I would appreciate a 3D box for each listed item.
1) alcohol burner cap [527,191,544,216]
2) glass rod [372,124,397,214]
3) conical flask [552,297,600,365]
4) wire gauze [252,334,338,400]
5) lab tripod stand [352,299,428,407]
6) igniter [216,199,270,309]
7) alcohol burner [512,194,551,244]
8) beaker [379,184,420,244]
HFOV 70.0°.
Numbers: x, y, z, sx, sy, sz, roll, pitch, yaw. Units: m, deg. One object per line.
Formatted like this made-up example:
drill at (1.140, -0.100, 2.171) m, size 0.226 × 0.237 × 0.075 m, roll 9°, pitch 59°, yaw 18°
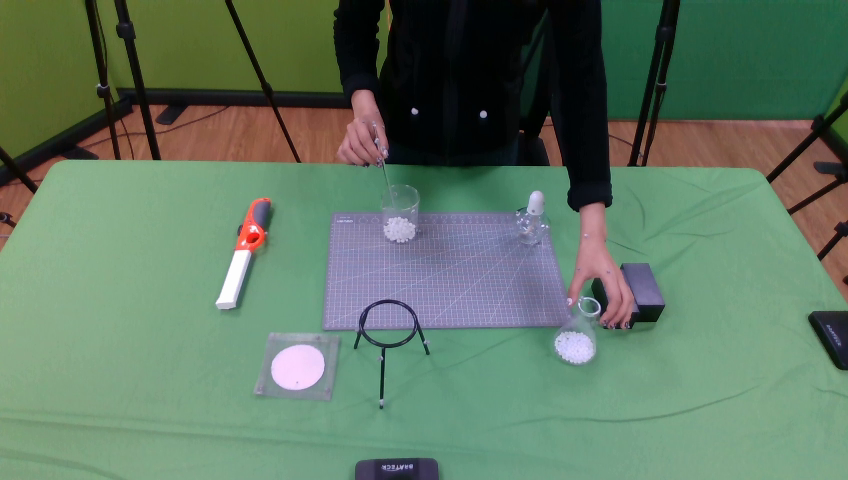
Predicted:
alcohol burner cap at (0.217, -0.073, 1.170) m, size 0.034 × 0.048 × 0.033 m, roll -1°, pitch 43°, yaw 1°
glass rod at (-0.071, -0.125, 1.106) m, size 0.008 × 0.201 × 0.008 m, roll -7°, pitch 41°, yaw 6°
conical flask at (0.261, 0.147, 1.009) m, size 0.075 × 0.122 × 0.075 m, roll 2°, pitch 46°, yaw -2°
wire gauze at (-0.209, 0.204, 0.996) m, size 0.125 × 0.011 × 0.120 m, roll 3°, pitch 45°, yaw 1°
lab tripod stand at (-0.056, 0.166, 0.958) m, size 0.148 × 0.132 × 0.147 m, roll 3°, pitch 44°, yaw -2°
igniter at (-0.342, 0.016, 1.153) m, size 0.057 × 0.025 × 0.275 m, roll -3°, pitch 45°, yaw 7°
alcohol burner at (0.215, -0.048, 1.196) m, size 0.078 × 0.119 × 0.077 m, roll 4°, pitch 46°, yaw -4°
beaker at (-0.051, -0.047, 1.184) m, size 0.084 × 0.101 × 0.073 m, roll -27°, pitch 53°, yaw -26°
